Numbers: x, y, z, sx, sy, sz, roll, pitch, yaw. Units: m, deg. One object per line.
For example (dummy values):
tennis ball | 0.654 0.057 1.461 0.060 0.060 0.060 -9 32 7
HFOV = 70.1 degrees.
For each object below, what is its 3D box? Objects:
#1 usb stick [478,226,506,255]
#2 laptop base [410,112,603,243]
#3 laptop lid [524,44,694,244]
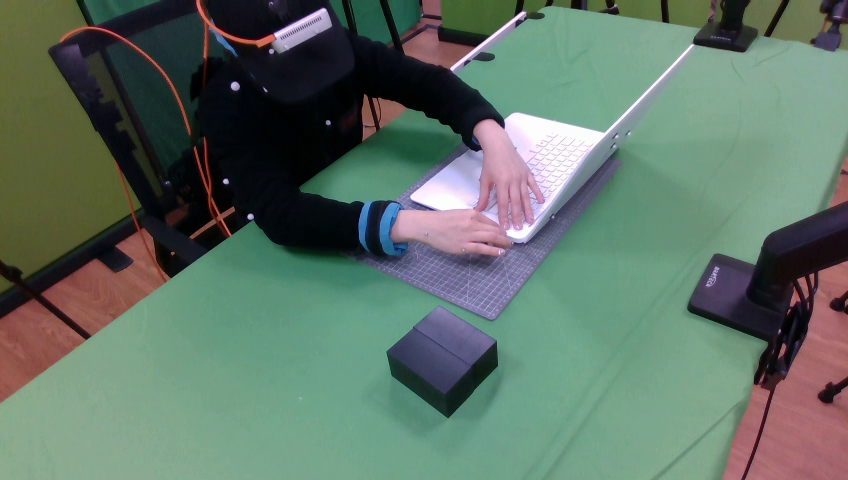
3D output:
usb stick | 0.108 -0.002 0.934 0.021 0.027 0.059 28 40 30
laptop base | 0.171 -0.127 1.096 0.233 0.023 0.355 22 48 33
laptop lid | 0.291 -0.150 0.941 0.013 0.241 0.358 40 54 12
